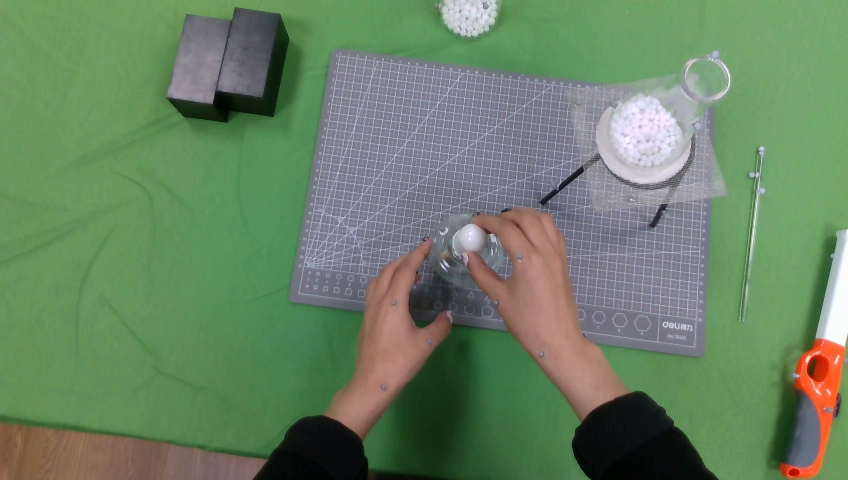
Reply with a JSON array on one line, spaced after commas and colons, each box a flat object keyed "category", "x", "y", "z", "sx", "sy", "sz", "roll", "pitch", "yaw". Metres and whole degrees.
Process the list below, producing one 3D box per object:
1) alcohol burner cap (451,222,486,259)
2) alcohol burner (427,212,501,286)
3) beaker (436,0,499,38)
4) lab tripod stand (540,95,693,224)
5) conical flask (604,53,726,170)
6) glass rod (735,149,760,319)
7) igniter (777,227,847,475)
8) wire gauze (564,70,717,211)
[{"category": "alcohol burner cap", "x": 0.044, "y": -0.002, "z": 0.576, "sx": 0.034, "sy": 0.048, "sz": 0.033, "roll": 1, "pitch": 80, "yaw": -4}, {"category": "alcohol burner", "x": 0.042, "y": 0.006, "z": 0.611, "sx": 0.078, "sy": 0.119, "sz": 0.077, "roll": 0, "pitch": 80, "yaw": -2}, {"category": "beaker", "x": 0.053, "y": -0.282, "z": 0.677, "sx": 0.084, "sy": 0.100, "sz": 0.073, "roll": -33, "pitch": 81, "yaw": -8}, {"category": "lab tripod stand", "x": 0.200, "y": -0.077, "z": 0.621, "sx": 0.148, "sy": 0.132, "sz": 0.148, "roll": 0, "pitch": 81, "yaw": 0}, {"category": "conical flask", "x": 0.202, "y": -0.108, "z": 0.500, "sx": 0.075, "sy": 0.122, "sz": 0.075, "roll": 0, "pitch": 81, "yaw": -1}, {"category": "glass rod", "x": 0.363, "y": -0.009, "z": 0.679, "sx": 0.008, "sy": 0.008, "sz": 0.199, "roll": 13, "pitch": 79, "yaw": 1}, {"category": "igniter", "x": 0.427, "y": 0.117, "z": 0.647, "sx": 0.057, "sy": 0.025, "sz": 0.275, "roll": 22, "pitch": 79, "yaw": -8}, {"category": "wire gauze", "x": 0.200, "y": -0.091, "z": 0.557, "sx": 0.125, "sy": 0.011, "sz": 0.121, "roll": -8, "pitch": 82, "yaw": -5}]
